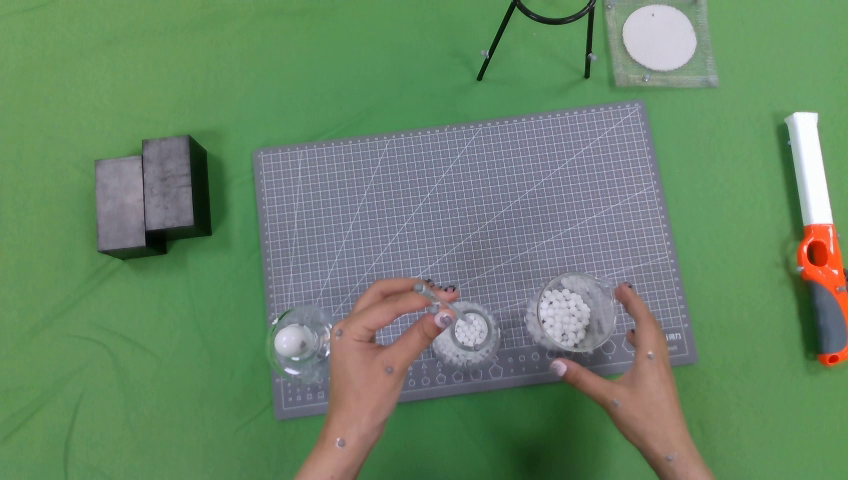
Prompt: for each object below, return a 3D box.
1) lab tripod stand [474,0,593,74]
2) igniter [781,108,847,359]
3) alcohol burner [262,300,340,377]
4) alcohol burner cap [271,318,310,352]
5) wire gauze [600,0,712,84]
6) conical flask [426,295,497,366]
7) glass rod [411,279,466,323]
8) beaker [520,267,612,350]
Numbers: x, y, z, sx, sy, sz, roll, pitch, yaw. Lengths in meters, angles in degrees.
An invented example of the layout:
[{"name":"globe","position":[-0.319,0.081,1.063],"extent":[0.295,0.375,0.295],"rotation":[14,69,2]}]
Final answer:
[{"name":"lab tripod stand","position":[0.121,-0.240,0.646],"extent":[0.148,0.132,0.148],"rotation":[0,82,1]},{"name":"igniter","position":[0.423,-0.011,0.658],"extent":[0.057,0.025,0.275],"rotation":[0,80,-11]},{"name":"alcohol burner","position":[-0.125,0.096,0.594],"extent":[0.078,0.119,0.077],"rotation":[0,79,3]},{"name":"alcohol burner cap","position":[-0.125,0.088,0.558],"extent":[0.034,0.048,0.034],"rotation":[0,82,-3]},{"name":"wire gauze","position":[0.272,-0.240,0.709],"extent":[0.125,0.011,0.121],"rotation":[-1,80,-2]},{"name":"conical flask","position":[0.039,0.086,0.591],"extent":[0.075,0.122,0.075],"rotation":[0,79,1]},{"name":"glass rod","position":[0.015,0.049,0.458],"extent":[0.008,0.201,0.008],"rotation":[-3,76,11]},{"name":"beaker","position":[0.139,0.068,0.606],"extent":[0.084,0.100,0.074],"rotation":[-41,82,-7]}]
